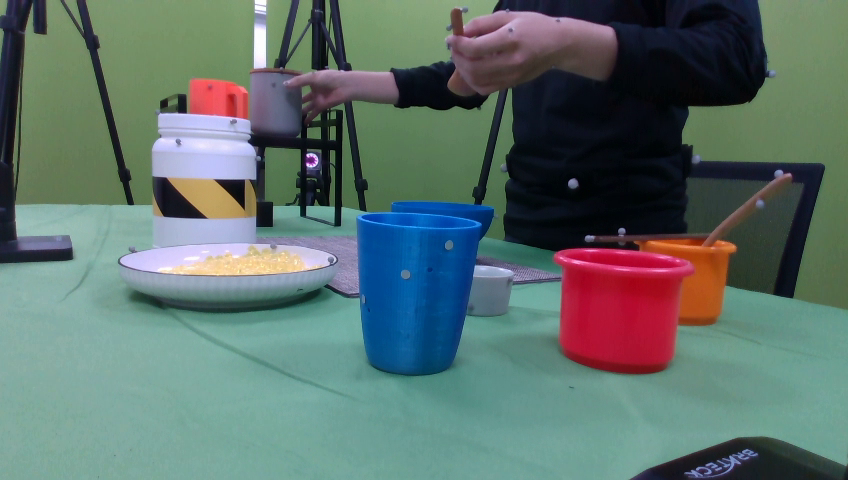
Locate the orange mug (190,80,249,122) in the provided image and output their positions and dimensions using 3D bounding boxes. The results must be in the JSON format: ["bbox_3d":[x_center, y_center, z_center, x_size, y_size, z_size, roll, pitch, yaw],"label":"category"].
[{"bbox_3d":[-0.393,-0.257,1.173,0.126,0.100,0.084,1,6,25],"label":"orange mug"}]

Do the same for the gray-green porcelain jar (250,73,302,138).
[{"bbox_3d":[-0.312,-0.280,1.270,0.106,0.126,0.106,3,8,0],"label":"gray-green porcelain jar"}]

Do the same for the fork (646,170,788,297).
[{"bbox_3d":[0.256,0.004,0.543,0.028,0.018,0.207,3,-37,-10],"label":"fork"}]

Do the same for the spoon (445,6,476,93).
[{"bbox_3d":[0.039,-0.222,0.721,0.041,0.021,0.194,10,-14,10],"label":"spoon"}]

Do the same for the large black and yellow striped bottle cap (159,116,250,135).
[{"bbox_3d":[-0.292,-0.153,0.810,0.115,0.019,0.115,3,8,0],"label":"large black and yellow striped bottle cap"}]

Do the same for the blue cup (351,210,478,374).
[{"bbox_3d":[-0.009,0.034,0.414,0.093,0.100,0.092,3,8,0],"label":"blue cup"}]

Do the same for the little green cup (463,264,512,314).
[{"bbox_3d":[0.053,0.047,0.580,0.061,0.038,0.061,3,8,0],"label":"little green cup"}]

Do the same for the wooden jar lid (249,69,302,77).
[{"bbox_3d":[-0.308,-0.341,1.262,0.108,0.020,0.108,1,8,0],"label":"wooden jar lid"}]

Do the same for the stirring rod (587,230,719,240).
[{"bbox_3d":[0.226,-0.005,0.587,0.177,0.006,0.014,-2,10,-29],"label":"stirring rod"}]

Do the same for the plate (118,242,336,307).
[{"bbox_3d":[-0.194,0.033,0.615,0.209,0.038,0.209,2,7,0],"label":"plate"}]

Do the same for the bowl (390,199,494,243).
[{"bbox_3d":[0.024,-0.015,0.871,0.151,0.077,0.151,3,7,0],"label":"bowl"}]

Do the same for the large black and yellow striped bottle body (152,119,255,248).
[{"bbox_3d":[-0.296,-0.070,0.819,0.131,0.184,0.130,2,7,0],"label":"large black and yellow striped bottle body"}]
